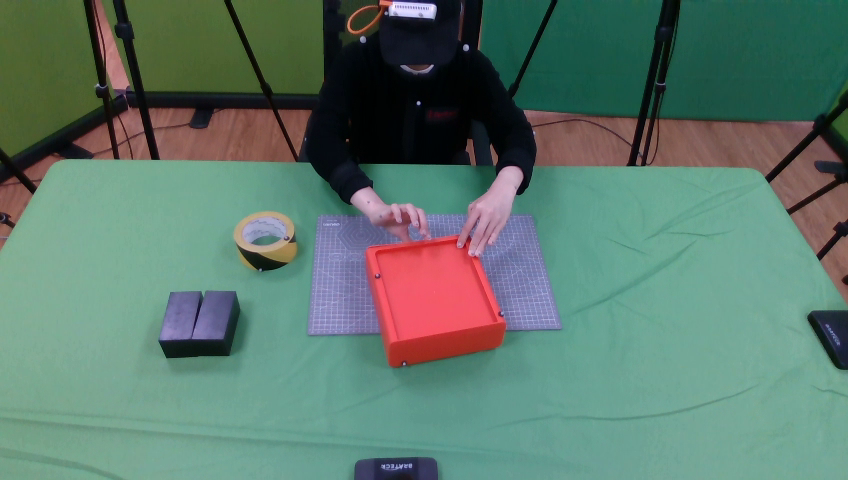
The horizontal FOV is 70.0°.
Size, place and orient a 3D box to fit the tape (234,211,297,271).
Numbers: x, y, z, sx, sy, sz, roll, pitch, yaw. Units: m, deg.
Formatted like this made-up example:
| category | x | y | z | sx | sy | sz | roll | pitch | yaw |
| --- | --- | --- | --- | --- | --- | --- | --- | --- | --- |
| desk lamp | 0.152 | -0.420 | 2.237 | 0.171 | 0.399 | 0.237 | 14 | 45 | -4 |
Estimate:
| category | x | y | z | sx | sy | sz | roll | pitch | yaw |
| --- | --- | --- | --- | --- | --- | --- | --- | --- | --- |
| tape | -0.301 | 0.002 | 1.154 | 0.117 | 0.053 | 0.116 | 2 | 46 | -1 |

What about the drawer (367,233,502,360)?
| category | x | y | z | sx | sy | sz | roll | pitch | yaw |
| --- | --- | --- | --- | --- | --- | --- | --- | --- | --- |
| drawer | 0.012 | 0.094 | 1.063 | 0.195 | 0.073 | 0.210 | -7 | 48 | -12 |

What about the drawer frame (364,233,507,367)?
| category | x | y | z | sx | sy | sz | roll | pitch | yaw |
| --- | --- | --- | --- | --- | --- | --- | --- | --- | --- |
| drawer frame | 0.013 | 0.098 | 1.058 | 0.202 | 0.083 | 0.212 | -9 | 48 | -13 |
